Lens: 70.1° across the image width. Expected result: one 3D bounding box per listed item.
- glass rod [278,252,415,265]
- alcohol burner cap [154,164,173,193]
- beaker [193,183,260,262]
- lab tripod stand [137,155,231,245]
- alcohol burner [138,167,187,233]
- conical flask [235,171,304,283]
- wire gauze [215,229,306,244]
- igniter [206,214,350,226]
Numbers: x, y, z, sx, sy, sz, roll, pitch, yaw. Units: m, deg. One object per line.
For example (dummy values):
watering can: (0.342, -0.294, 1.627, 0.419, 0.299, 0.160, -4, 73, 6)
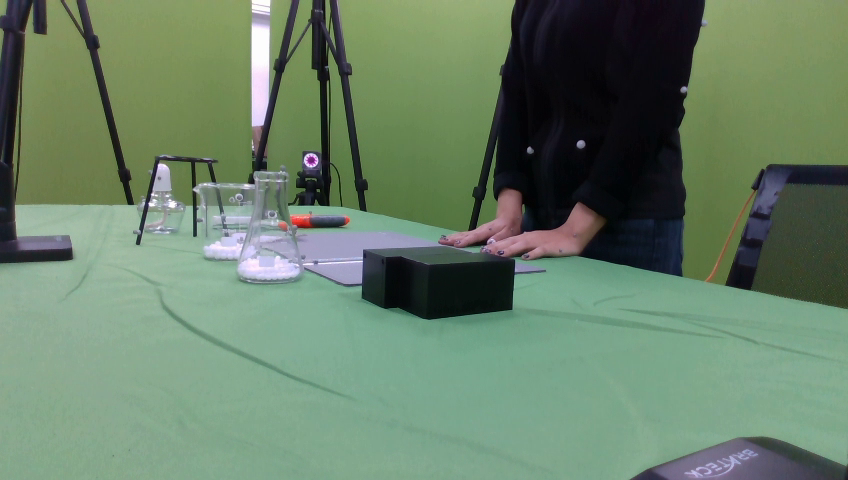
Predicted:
glass rod: (-0.097, 0.024, 0.805, 0.201, 0.008, 0.008, -3, 8, -33)
alcohol burner cap: (-0.450, -0.106, 1.038, 0.034, 0.048, 0.034, 3, 13, 0)
beaker: (-0.262, -0.024, 0.806, 0.084, 0.100, 0.073, -3, 9, -30)
lab tripod stand: (-0.358, -0.062, 0.927, 0.148, 0.131, 0.148, 4, 6, 0)
alcohol burner: (-0.450, -0.070, 1.044, 0.078, 0.119, 0.078, 4, 7, 0)
conical flask: (-0.172, -0.016, 0.677, 0.075, 0.122, 0.075, 2, 7, 0)
wire gauze: (-0.273, -0.009, 1.013, 0.122, 0.011, 0.124, -2, 9, -33)
igniter: (-0.279, -0.038, 1.185, 0.278, 0.025, 0.057, -2, -1, -30)
